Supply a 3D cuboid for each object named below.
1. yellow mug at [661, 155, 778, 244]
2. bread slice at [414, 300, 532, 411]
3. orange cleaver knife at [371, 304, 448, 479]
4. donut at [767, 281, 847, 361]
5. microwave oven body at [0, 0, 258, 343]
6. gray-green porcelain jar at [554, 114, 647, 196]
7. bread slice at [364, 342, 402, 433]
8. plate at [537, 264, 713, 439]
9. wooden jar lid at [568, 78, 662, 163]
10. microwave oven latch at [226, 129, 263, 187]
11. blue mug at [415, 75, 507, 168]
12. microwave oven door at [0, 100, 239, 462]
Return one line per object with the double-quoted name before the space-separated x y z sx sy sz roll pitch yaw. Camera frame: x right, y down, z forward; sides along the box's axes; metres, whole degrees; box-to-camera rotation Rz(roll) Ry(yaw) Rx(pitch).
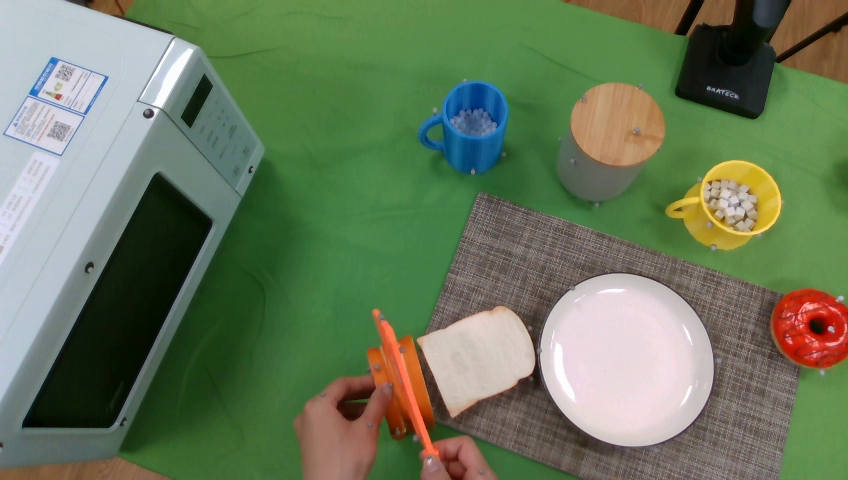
"yellow mug" 0.372 -0.050 0.778 0.131 0.064 0.099 -4 74 1
"bread slice" 0.067 0.137 0.748 0.131 0.019 0.104 -23 74 -1
"orange cleaver knife" -0.009 0.160 0.568 0.012 0.077 0.211 -20 93 -13
"donut" 0.470 0.099 0.740 0.099 0.048 0.098 0 75 2
"microwave oven body" -0.447 -0.029 0.687 0.325 0.261 0.440 20 76 7
"gray-green porcelain jar" 0.224 -0.120 0.770 0.106 0.127 0.105 0 74 2
"bread slice" -0.047 0.165 0.694 0.018 0.135 0.106 -17 72 -7
"plate" 0.240 0.134 0.740 0.207 0.039 0.206 0 74 2
"wooden jar lid" 0.222 -0.138 0.710 0.108 0.021 0.107 0 72 1
"microwave oven latch" -0.243 -0.112 0.805 0.030 0.029 0.079 23 77 7
"blue mug" 0.046 -0.151 0.793 0.116 0.106 0.082 -6 74 0
"microwave oven door" -0.327 0.056 0.655 0.039 0.245 0.354 20 75 7
